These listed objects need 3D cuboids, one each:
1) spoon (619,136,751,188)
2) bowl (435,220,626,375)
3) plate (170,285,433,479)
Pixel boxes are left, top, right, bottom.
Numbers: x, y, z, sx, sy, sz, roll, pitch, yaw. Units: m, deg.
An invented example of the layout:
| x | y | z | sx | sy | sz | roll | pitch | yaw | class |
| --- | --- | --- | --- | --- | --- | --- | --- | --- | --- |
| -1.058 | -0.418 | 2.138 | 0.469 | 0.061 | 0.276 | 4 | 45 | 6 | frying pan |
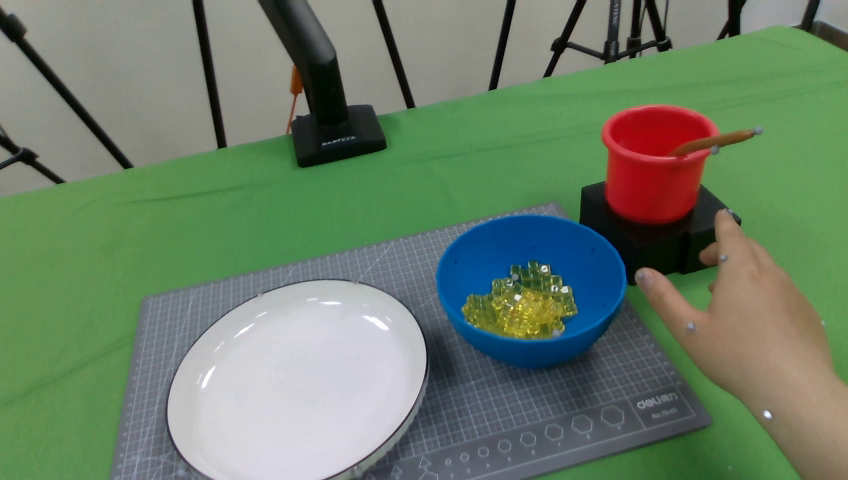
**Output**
| x | y | z | sx | sy | sz | roll | pitch | yaw | class |
| --- | --- | --- | --- | --- | --- | --- | --- | --- | --- |
| 0.211 | -0.065 | 0.507 | 0.041 | 0.021 | 0.194 | -8 | -5 | -3 | spoon |
| 0.087 | 0.058 | 0.505 | 0.151 | 0.077 | 0.150 | -5 | 39 | 4 | bowl |
| -0.095 | 0.120 | 0.493 | 0.207 | 0.039 | 0.205 | -5 | 39 | 4 | plate |
